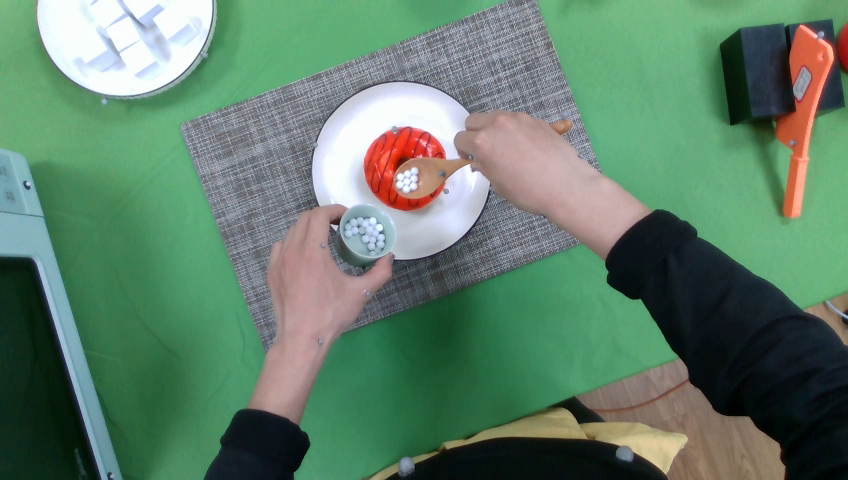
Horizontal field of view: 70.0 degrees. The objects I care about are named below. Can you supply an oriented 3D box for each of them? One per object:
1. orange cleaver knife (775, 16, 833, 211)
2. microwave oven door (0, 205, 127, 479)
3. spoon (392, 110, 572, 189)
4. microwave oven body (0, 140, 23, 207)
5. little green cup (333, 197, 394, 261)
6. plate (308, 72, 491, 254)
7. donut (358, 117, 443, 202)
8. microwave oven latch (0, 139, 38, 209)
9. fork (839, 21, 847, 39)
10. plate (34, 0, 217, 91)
[{"bbox_3d":[0.417,-0.138,0.682,0.012,0.076,0.213,-5,118,3],"label":"orange cleaver knife"},{"bbox_3d":[-0.408,0.134,0.586,0.039,0.244,0.355,-18,89,0],"label":"microwave oven door"},{"bbox_3d":[0.049,-0.088,0.582,0.193,0.022,0.041,-14,90,35],"label":"spoon"},{"bbox_3d":[-0.560,0.138,0.593,0.326,0.260,0.441,-18,90,0],"label":"microwave oven body"},{"bbox_3d":[-0.065,-0.010,0.626,0.062,0.039,0.061,10,57,-16],"label":"little green cup"},{"bbox_3d":[-0.028,-0.087,0.703,0.209,0.038,0.209,0,90,1],"label":"plate"},{"bbox_3d":[-0.025,-0.091,0.691,0.099,0.048,0.099,0,92,1],"label":"donut"},{"bbox_3d":[-0.471,-0.073,0.691,0.030,0.029,0.079,-17,90,0],"label":"microwave oven latch"},{"bbox_3d":[0.570,-0.237,0.651,0.206,0.019,0.028,8,87,42],"label":"fork"},{"bbox_3d":[-0.343,-0.275,0.711,0.208,0.039,0.207,0,89,1],"label":"plate"}]
